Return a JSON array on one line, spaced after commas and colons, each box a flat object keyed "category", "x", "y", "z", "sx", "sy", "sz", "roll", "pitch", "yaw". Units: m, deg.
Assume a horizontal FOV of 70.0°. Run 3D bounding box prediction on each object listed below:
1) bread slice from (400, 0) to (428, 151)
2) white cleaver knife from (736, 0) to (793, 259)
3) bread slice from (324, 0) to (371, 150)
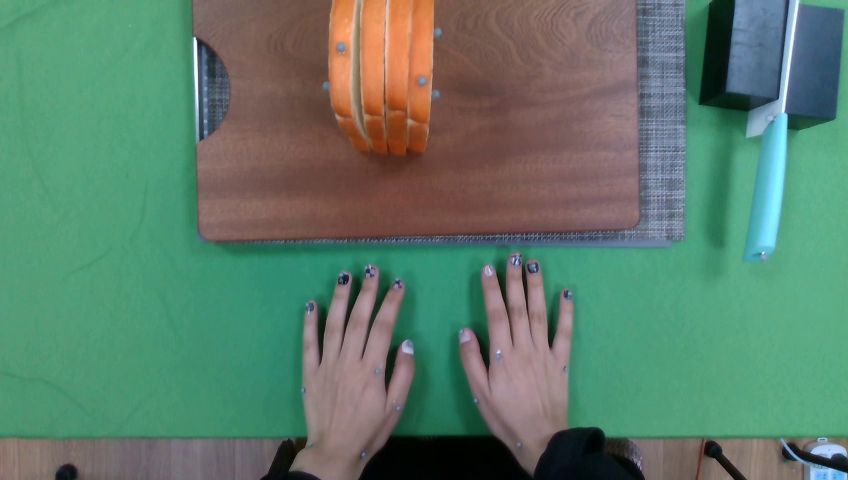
[{"category": "bread slice", "x": -0.009, "y": -0.130, "z": 0.482, "sx": 0.018, "sy": 0.134, "sz": 0.107, "roll": 1, "pitch": 94, "yaw": -3}, {"category": "white cleaver knife", "x": 0.316, "y": -0.124, "z": 0.563, "sx": 0.021, "sy": 0.066, "sz": 0.286, "roll": 7, "pitch": 91, "yaw": 3}, {"category": "bread slice", "x": -0.059, "y": -0.135, "z": 0.481, "sx": 0.019, "sy": 0.131, "sz": 0.105, "roll": 1, "pitch": 88, "yaw": 2}]
